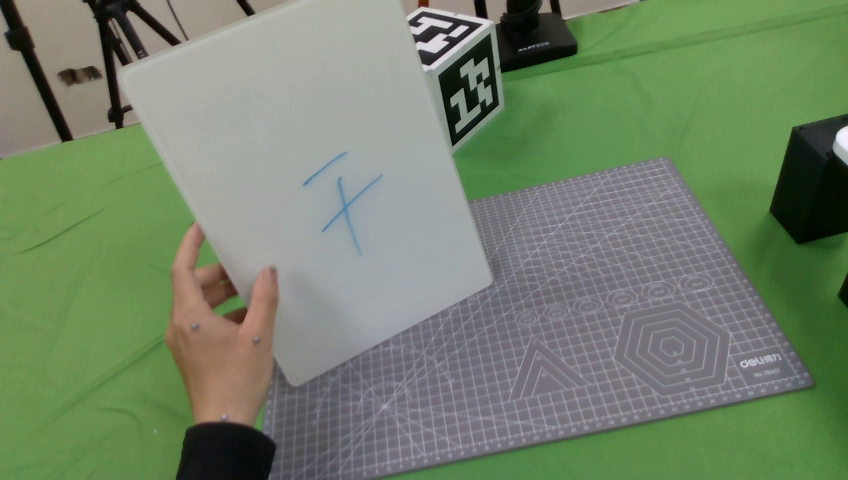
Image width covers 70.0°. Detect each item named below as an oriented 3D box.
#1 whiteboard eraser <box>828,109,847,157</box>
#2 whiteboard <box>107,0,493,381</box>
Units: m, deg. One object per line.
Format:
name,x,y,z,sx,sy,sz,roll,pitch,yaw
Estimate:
whiteboard eraser,0.353,-0.068,0.466,0.041,0.019,0.100,-12,46,1
whiteboard,-0.099,-0.068,0.566,0.217,0.308,0.142,-27,27,-10
